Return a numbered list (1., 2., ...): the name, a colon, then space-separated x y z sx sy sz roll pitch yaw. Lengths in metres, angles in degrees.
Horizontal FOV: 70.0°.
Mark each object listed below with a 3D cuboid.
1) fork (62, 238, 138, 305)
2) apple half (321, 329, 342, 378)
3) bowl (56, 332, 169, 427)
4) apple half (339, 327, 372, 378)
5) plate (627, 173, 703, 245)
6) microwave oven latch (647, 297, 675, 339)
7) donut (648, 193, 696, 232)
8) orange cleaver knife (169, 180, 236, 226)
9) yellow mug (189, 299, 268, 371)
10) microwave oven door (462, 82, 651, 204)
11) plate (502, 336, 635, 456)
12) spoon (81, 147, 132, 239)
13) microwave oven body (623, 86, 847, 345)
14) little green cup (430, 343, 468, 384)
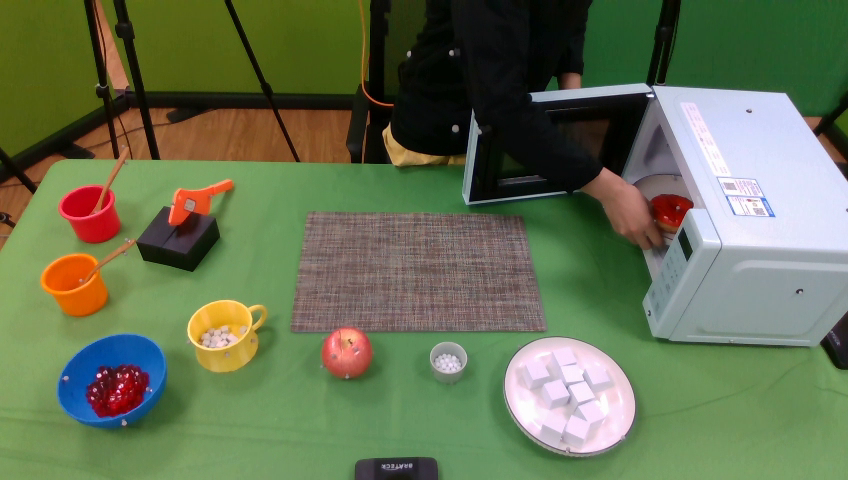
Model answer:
1. fork: -0.547 0.053 1.019 0.207 0.019 0.028 -36 42 23
2. apple half: -0.149 0.186 0.972 0.033 0.081 0.080 -2 46 -12
3. bowl: -0.456 0.222 0.912 0.151 0.077 0.150 2 46 -2
4. apple half: -0.111 0.182 0.980 0.053 0.075 0.080 -2 42 -12
5. plate: 0.496 -0.051 1.175 0.209 0.038 0.208 3 44 -3
6. microwave oven latch: 0.413 0.134 1.060 0.030 0.029 0.078 5 45 2
7. donut: 0.478 -0.054 1.158 0.099 0.048 0.098 5 41 -4
8. orange cleaver knife: -0.435 -0.076 1.199 0.012 0.077 0.211 17 17 9
9. yellow mug: -0.316 0.148 1.002 0.131 0.064 0.099 -33 56 -31
10. microwave oven door: 0.261 -0.194 1.226 0.356 0.245 0.039 -8 47 -11
11. plate: 0.225 0.248 0.963 0.208 0.039 0.206 2 46 -2
12. spoon: -0.603 -0.089 1.156 0.041 0.022 0.193 28 95 18
13. microwave oven body: 0.567 -0.053 1.118 0.326 0.261 0.439 2 45 -1
14. little green cup: 0.039 0.203 0.993 0.061 0.039 0.061 2 46 -2
